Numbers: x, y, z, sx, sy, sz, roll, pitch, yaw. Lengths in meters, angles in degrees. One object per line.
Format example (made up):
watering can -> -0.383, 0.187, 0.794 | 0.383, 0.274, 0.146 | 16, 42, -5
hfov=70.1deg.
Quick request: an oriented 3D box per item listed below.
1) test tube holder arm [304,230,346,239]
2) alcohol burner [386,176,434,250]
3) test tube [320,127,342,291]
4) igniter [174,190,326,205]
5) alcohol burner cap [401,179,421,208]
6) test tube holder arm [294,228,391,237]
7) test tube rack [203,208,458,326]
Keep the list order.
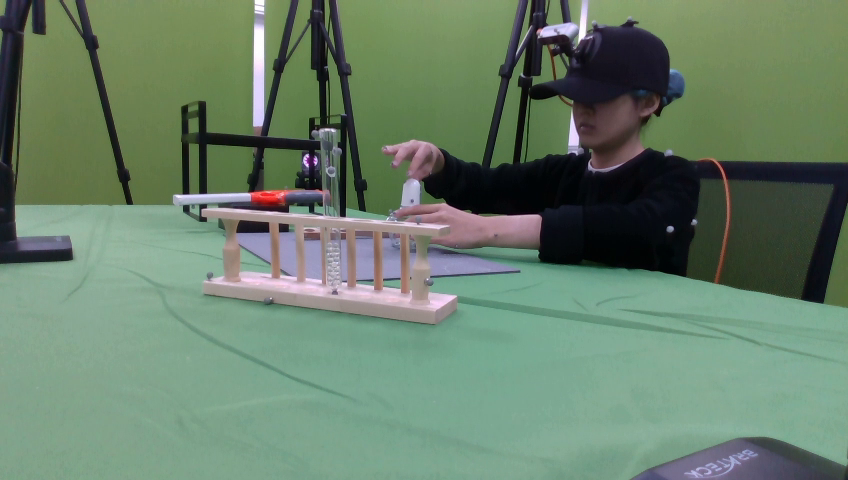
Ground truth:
test tube holder arm -> -0.174, -0.009, 1.027 | 0.088, 0.015, 0.010 | 0, 43, -31
alcohol burner -> -0.022, -0.044, 0.975 | 0.078, 0.119, 0.078 | 5, 8, 0
test tube -> -0.084, -0.027, 0.554 | 0.017, 0.150, 0.017 | -1, 7, 0
igniter -> -0.317, -0.079, 1.132 | 0.278, 0.025, 0.057 | -4, 12, -32
alcohol burner cap -> -0.020, -0.074, 0.970 | 0.034, 0.048, 0.034 | 4, 7, 0
test tube holder arm -> -0.138, -0.013, 1.054 | 0.179, 0.015, 0.013 | -1, 43, -32
test tube rack -> -0.090, 0.019, 0.579 | 0.241, 0.085, 0.067 | 5, 7, 19
